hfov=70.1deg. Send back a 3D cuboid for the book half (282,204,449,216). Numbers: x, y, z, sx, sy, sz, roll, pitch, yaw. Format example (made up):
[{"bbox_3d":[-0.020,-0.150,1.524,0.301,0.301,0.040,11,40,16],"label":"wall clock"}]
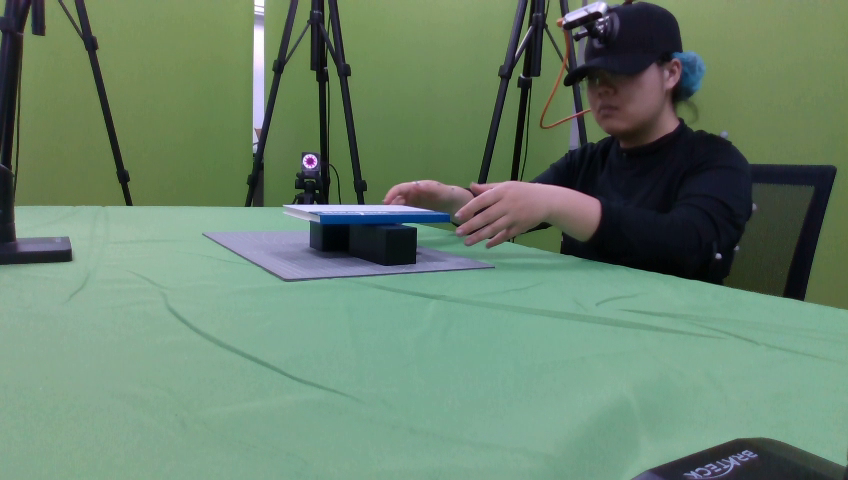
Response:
[{"bbox_3d":[-0.088,-0.045,0.907,0.211,0.007,0.142,-2,9,-32],"label":"book half"}]

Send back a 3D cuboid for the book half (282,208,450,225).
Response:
[{"bbox_3d":[-0.086,-0.037,0.905,0.211,0.016,0.148,-1,9,-32],"label":"book half"}]
